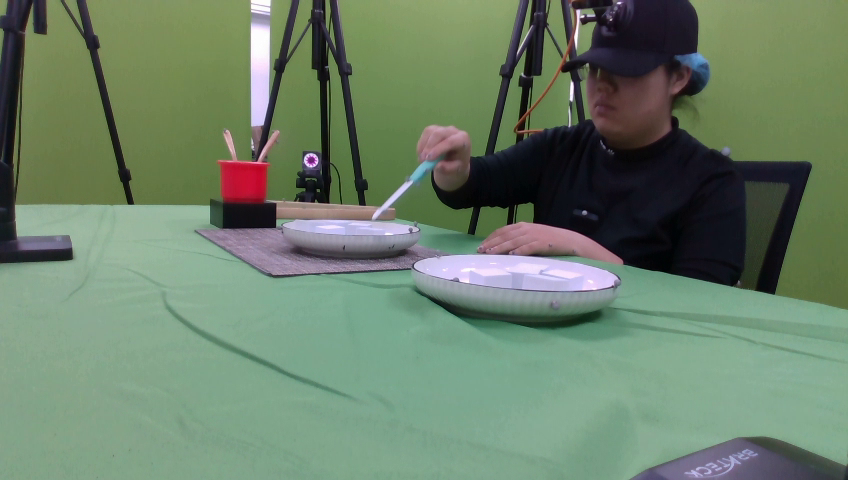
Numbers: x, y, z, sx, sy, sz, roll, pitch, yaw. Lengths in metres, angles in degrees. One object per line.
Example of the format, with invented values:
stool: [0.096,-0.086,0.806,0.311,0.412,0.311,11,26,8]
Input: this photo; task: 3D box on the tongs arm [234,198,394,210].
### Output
tongs arm: [-0.263,-0.076,1.460,0.386,0.026,0.050,3,8,-8]

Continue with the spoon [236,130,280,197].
spoon: [-0.321,-0.154,1.192,0.041,0.193,0.022,0,-37,19]

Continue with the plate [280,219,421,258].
plate: [-0.108,-0.002,0.902,0.208,0.039,0.207,3,7,0]

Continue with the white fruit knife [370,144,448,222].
white fruit knife: [-0.017,-0.082,0.841,0.027,0.016,0.208,-16,25,42]

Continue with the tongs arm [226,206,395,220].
tongs arm: [-0.248,-0.061,1.382,0.389,0.028,0.028,0,6,-21]

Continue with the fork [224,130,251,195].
fork: [-0.372,-0.156,1.193,0.028,0.018,0.206,-17,54,-13]

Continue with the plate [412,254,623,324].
plate: [0.091,0.047,0.609,0.209,0.038,0.209,2,7,0]
